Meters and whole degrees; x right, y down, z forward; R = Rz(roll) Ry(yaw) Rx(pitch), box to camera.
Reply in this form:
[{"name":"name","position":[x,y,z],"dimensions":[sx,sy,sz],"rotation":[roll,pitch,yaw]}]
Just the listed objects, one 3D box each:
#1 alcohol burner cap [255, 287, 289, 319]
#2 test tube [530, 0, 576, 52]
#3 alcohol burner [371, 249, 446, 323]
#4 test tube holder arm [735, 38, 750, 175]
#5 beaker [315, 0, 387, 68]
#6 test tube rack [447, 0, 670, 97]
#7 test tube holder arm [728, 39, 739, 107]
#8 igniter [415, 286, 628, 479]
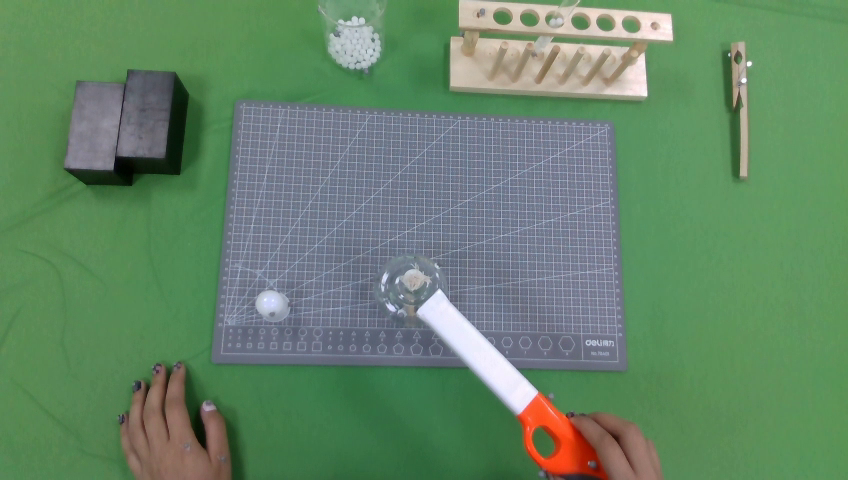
[{"name":"alcohol burner cap","position":[-0.161,0.064,0.635],"dimensions":[0.034,0.048,0.033],"rotation":[1,77,-5]},{"name":"test tube","position":[0.147,-0.250,0.663],"dimensions":[0.017,0.150,0.017],"rotation":[3,76,-11]},{"name":"alcohol burner","position":[-0.014,0.044,0.617],"dimensions":[0.078,0.119,0.077],"rotation":[2,75,-6]},{"name":"test tube holder arm","position":[0.394,-0.167,0.752],"dimensions":[0.013,0.015,0.177],"rotation":[-6,76,30]},{"name":"beaker","position":[-0.084,-0.249,0.686],"dimensions":[0.084,0.100,0.074],"rotation":[30,76,3]},{"name":"test tube rack","position":[0.152,-0.222,0.709],"dimensions":[0.243,0.085,0.066],"rotation":[2,77,-5]},{"name":"test tube holder arm","position":[0.391,-0.211,0.764],"dimensions":[0.010,0.015,0.087],"rotation":[-4,76,30]},{"name":"igniter","position":[0.097,0.151,0.540],"dimensions":[0.057,0.025,0.276],"rotation":[-43,86,-18]}]
